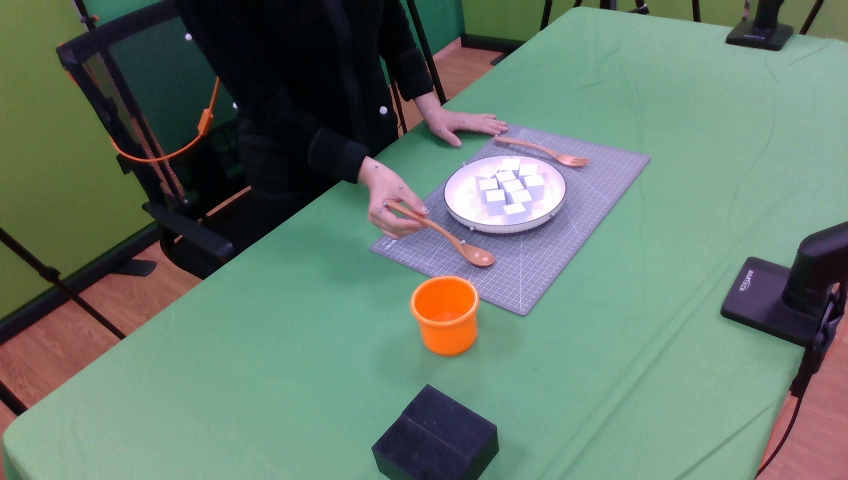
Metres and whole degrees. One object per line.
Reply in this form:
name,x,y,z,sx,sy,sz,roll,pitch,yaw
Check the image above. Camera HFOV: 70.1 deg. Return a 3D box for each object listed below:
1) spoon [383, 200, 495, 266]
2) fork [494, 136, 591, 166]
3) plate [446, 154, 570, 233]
spoon,0.024,-0.013,0.923,0.194,0.021,0.041,33,37,-8
fork,0.219,-0.171,1.144,0.205,0.019,0.028,24,56,31
plate,0.142,-0.076,1.033,0.207,0.039,0.206,-5,40,5
